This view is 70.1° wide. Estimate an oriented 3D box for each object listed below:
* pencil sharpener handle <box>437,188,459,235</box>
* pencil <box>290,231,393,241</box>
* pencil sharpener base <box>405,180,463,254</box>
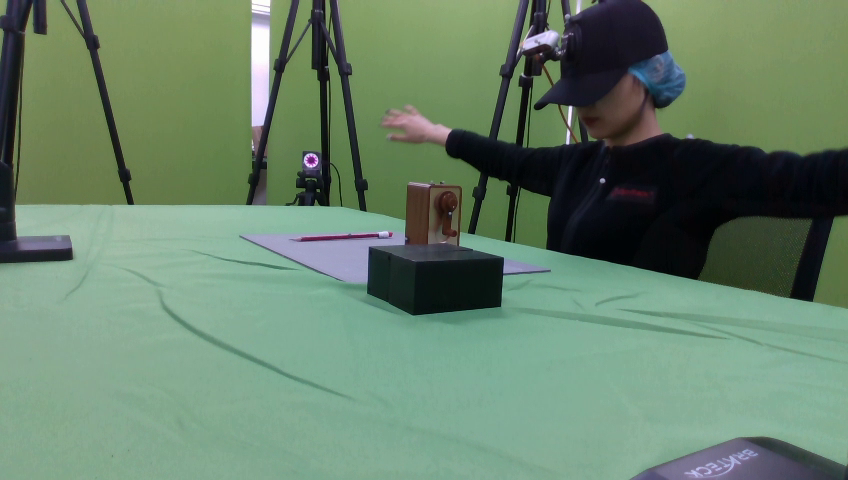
[{"bbox_3d":[0.041,-0.041,0.876,0.036,0.067,0.030,1,7,-30],"label":"pencil sharpener handle"},{"bbox_3d":[-0.136,-0.006,1.029,0.195,0.012,0.012,-4,9,-34],"label":"pencil"},{"bbox_3d":[0.016,-0.036,0.922,0.061,0.107,0.076,-1,9,-30],"label":"pencil sharpener base"}]
